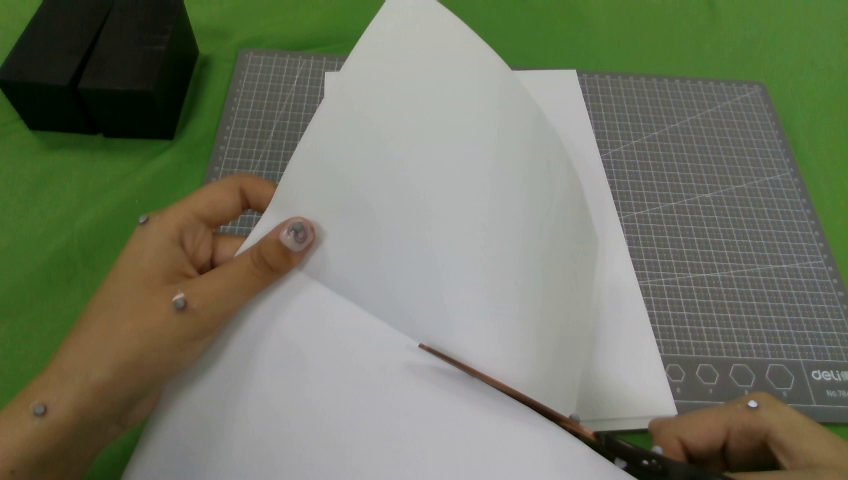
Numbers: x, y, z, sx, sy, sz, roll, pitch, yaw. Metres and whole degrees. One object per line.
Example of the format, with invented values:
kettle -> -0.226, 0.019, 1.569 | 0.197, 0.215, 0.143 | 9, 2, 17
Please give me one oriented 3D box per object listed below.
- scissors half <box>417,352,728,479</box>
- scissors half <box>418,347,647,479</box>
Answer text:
scissors half -> 0.074, 0.083, 0.252 | 0.174, 0.040, 0.013 | 22, 69, 18
scissors half -> 0.074, 0.090, 0.273 | 0.175, 0.040, 0.012 | 30, 75, -5
